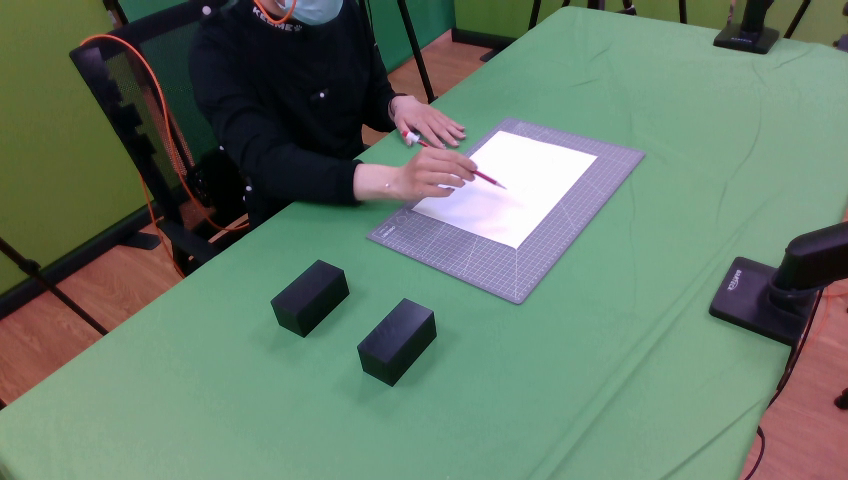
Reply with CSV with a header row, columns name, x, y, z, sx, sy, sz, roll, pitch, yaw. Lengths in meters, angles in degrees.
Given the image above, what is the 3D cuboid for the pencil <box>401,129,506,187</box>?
name,x,y,z,sx,sy,sz,roll,pitch,yaw
pencil,0.049,-0.132,0.987,0.194,0.012,0.012,28,47,1
